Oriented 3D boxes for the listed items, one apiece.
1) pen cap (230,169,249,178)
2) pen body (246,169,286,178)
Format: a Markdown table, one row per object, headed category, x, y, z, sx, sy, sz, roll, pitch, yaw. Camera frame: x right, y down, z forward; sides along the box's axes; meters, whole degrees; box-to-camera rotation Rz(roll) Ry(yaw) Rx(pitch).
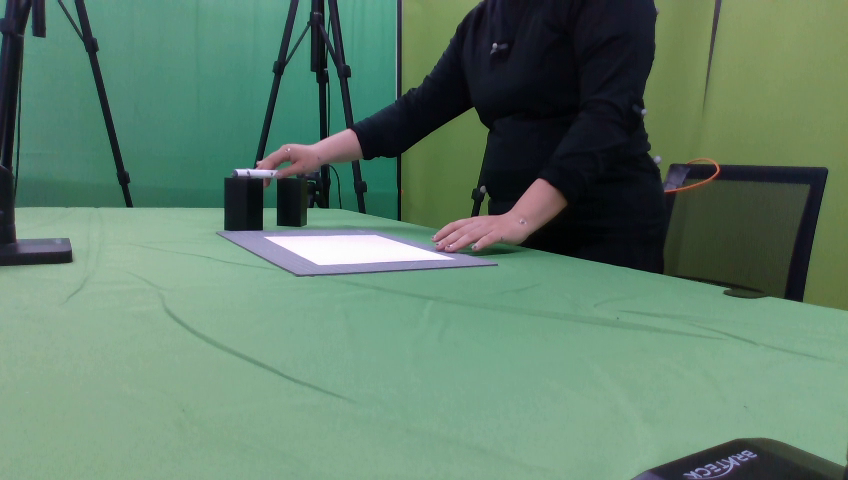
| category | x | y | z | sx | sy | sz | roll | pitch | yaw |
| --- | --- | --- | --- | --- | --- | --- | --- | --- | --- |
| pen cap | -0.347 | -0.125 | 1.138 | 0.017 | 0.017 | 0.038 | 6 | 10 | 21 |
| pen body | -0.323 | -0.130 | 1.196 | 0.017 | 0.017 | 0.144 | 6 | 6 | 24 |
